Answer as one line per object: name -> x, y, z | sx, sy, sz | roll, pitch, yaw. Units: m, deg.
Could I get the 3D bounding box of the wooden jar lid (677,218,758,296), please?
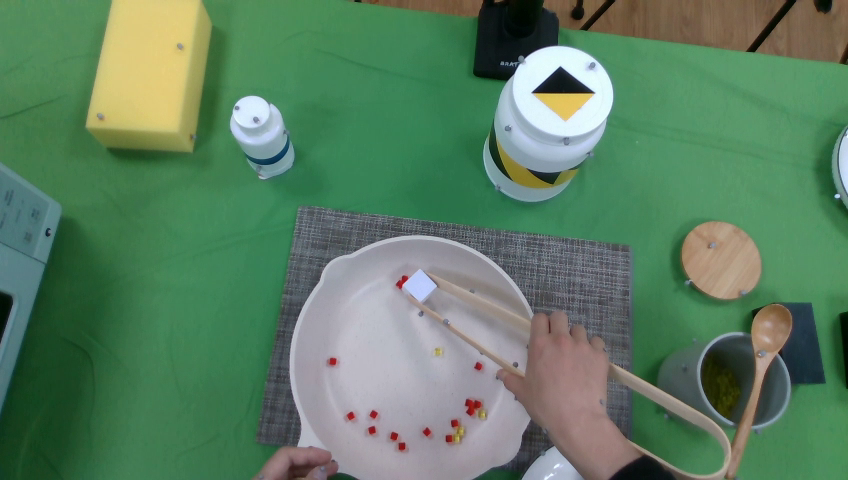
wooden jar lid -> 0.392, 0.024, 0.814 | 0.108, 0.021, 0.108 | 1, 75, -3

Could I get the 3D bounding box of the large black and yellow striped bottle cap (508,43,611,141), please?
large black and yellow striped bottle cap -> 0.153, -0.168, 0.682 | 0.115, 0.019, 0.114 | 1, 75, -3

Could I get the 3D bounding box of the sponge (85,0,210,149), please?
sponge -> -0.369, -0.232, 0.818 | 0.118, 0.061, 0.205 | 2, 75, -3

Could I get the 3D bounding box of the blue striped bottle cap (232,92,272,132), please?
blue striped bottle cap -> -0.205, -0.153, 0.721 | 0.044, 0.021, 0.044 | 1, 75, -3

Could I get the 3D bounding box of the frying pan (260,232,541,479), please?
frying pan -> -0.085, 0.199, 0.685 | 0.487, 0.103, 0.305 | -39, 79, -21

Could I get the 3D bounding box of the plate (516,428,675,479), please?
plate -> 0.198, 0.325, 0.703 | 0.208, 0.039, 0.206 | 1, 75, -3

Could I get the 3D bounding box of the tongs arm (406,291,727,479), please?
tongs arm -> 0.124, 0.134, 0.646 | 0.050, 0.027, 0.381 | -44, 51, -18

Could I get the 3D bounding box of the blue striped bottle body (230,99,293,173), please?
blue striped bottle body -> -0.207, -0.137, 0.770 | 0.063, 0.121, 0.062 | 1, 73, -3

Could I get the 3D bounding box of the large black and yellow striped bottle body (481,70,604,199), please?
large black and yellow striped bottle body -> 0.147, -0.142, 0.762 | 0.131, 0.185, 0.130 | 1, 73, -3

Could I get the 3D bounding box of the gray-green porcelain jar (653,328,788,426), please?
gray-green porcelain jar -> 0.339, 0.165, 0.714 | 0.106, 0.127, 0.105 | 1, 73, -3

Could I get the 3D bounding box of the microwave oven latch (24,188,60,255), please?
microwave oven latch -> -0.475, -0.024, 0.744 | 0.030, 0.029, 0.079 | 10, 74, -1

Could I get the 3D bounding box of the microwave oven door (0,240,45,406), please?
microwave oven door -> -0.498, 0.155, 0.585 | 0.039, 0.245, 0.354 | 7, 73, -1

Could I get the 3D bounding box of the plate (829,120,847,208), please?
plate -> 0.671, -0.093, 0.855 | 0.209, 0.038, 0.208 | 1, 74, -3

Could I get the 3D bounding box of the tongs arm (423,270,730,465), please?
tongs arm -> 0.139, 0.117, 0.654 | 0.384, 0.028, 0.028 | 27, 61, 36

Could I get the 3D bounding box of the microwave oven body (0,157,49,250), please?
microwave oven body -> -0.638, 0.097, 0.598 | 0.326, 0.261, 0.439 | 7, 74, -2

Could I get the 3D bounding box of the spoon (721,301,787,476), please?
spoon -> 0.347, 0.156, 0.644 | 0.042, 0.021, 0.193 | 24, 77, -5
